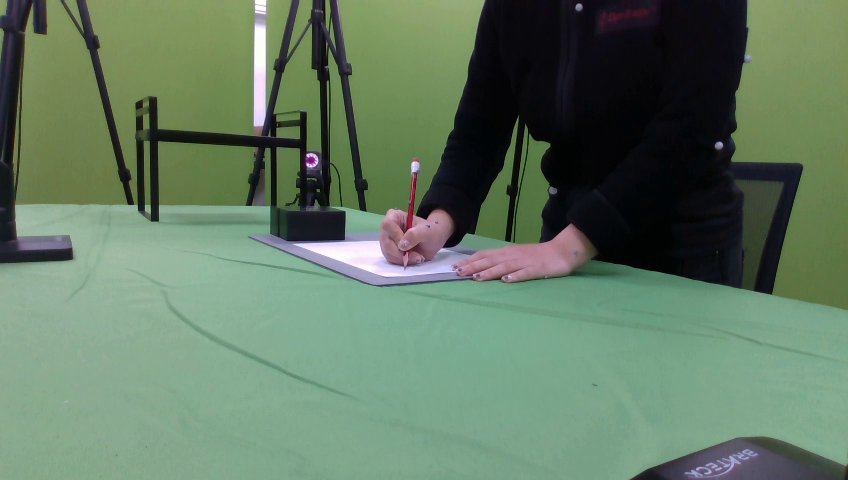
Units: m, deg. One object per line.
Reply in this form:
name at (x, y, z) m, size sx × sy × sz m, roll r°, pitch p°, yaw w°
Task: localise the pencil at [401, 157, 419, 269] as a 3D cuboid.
pencil at (-0.020, -0.040, 0.817) m, size 0.012 × 0.193 × 0.012 m, roll 3°, pitch -37°, yaw 3°
